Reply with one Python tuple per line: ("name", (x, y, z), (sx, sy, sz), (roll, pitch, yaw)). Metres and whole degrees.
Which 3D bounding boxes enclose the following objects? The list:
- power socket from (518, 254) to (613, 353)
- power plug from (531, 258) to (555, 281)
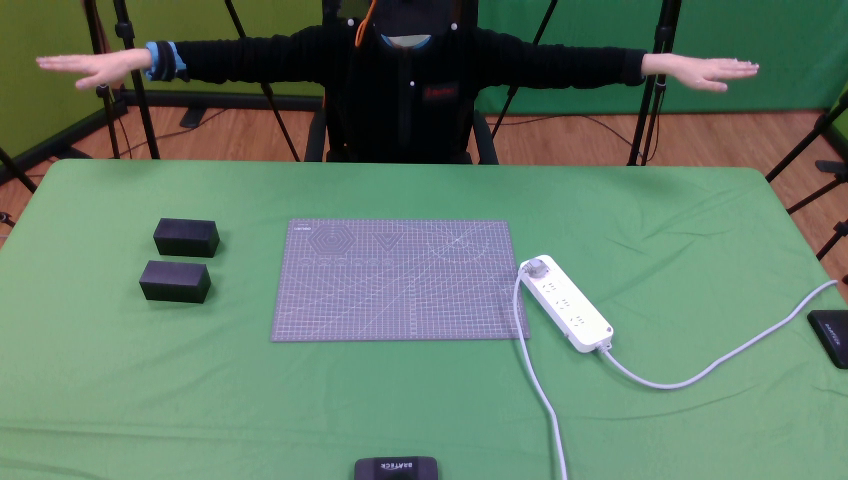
("power socket", (0.252, 0.111, 1.099), (0.072, 0.033, 0.225), (-19, 50, -19))
("power plug", (0.231, 0.059, 1.116), (0.073, 0.035, 0.052), (23, 39, -11))
